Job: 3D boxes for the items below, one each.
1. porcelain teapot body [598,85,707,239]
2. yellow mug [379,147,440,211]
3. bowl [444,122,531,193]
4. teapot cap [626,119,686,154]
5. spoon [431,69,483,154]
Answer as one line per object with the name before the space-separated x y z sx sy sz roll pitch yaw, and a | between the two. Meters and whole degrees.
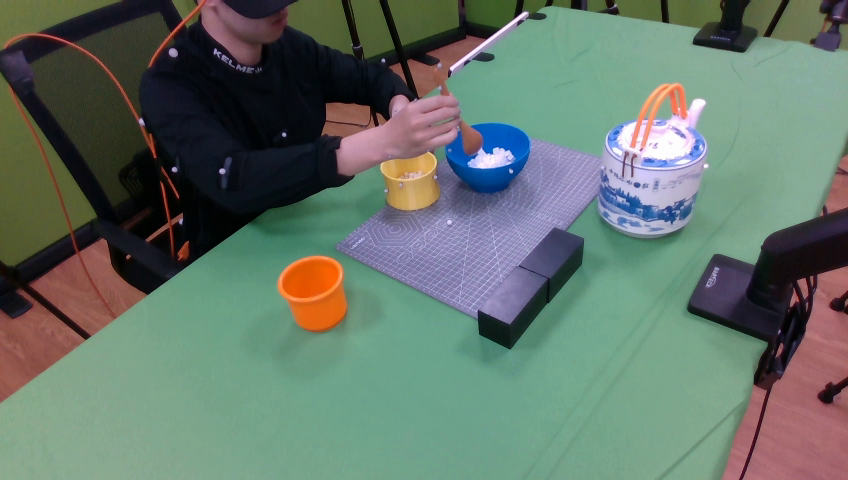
porcelain teapot body | 0.363 -0.137 0.921 0.144 0.226 0.206 28 51 36
yellow mug | -0.023 -0.117 1.071 0.100 0.064 0.130 0 40 8
bowl | 0.113 -0.136 1.063 0.151 0.077 0.150 -4 41 4
teapot cap | 0.338 -0.153 0.882 0.085 0.044 0.085 -3 38 3
spoon | 0.050 -0.196 0.944 0.041 0.195 0.021 -42 48 -1
